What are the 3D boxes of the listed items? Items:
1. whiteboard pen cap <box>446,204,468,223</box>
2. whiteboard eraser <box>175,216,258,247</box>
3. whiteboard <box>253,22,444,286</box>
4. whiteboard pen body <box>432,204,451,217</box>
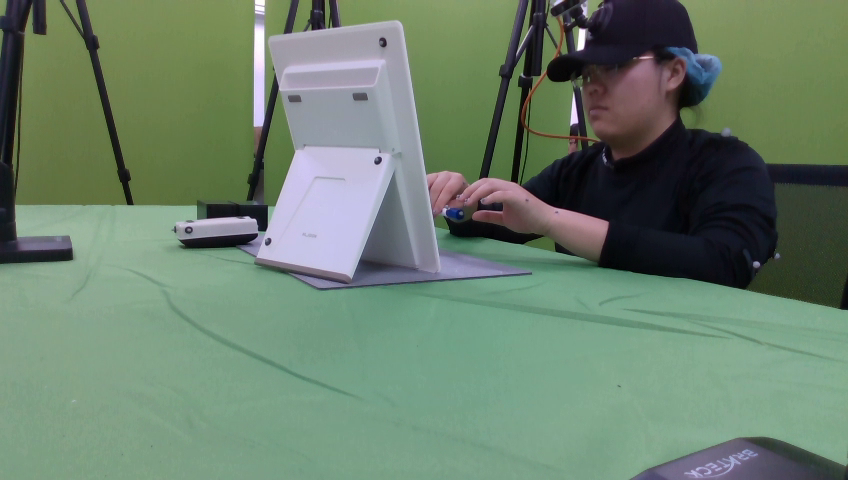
[{"bbox_3d":[0.051,-0.040,0.934,0.033,0.018,0.018,36,20,19],"label":"whiteboard pen cap"},{"bbox_3d":[-0.314,-0.012,0.914,0.113,0.042,0.055,-5,12,-30],"label":"whiteboard eraser"},{"bbox_3d":[-0.125,-0.081,0.715,0.216,0.305,0.144,9,29,36],"label":"whiteboard"},{"bbox_3d":[0.020,-0.050,0.988,0.017,0.017,0.140,-1,10,-28],"label":"whiteboard pen body"}]
